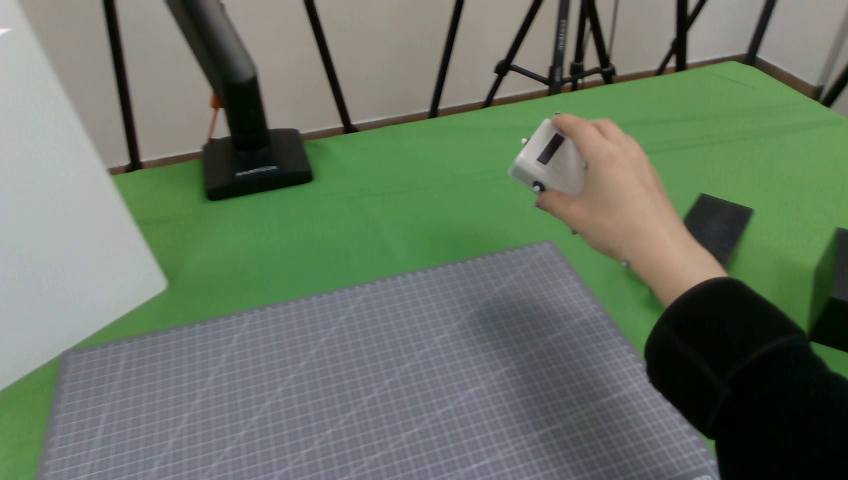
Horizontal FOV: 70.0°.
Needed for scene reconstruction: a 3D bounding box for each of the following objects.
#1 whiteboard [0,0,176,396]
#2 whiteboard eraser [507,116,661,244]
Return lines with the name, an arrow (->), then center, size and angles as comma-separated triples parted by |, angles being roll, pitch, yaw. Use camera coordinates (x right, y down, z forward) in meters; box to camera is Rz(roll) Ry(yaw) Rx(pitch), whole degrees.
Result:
whiteboard -> -0.393, -0.041, 0.489 | 0.143, 0.308, 0.217 | 9, 37, 44
whiteboard eraser -> 0.126, -0.047, 0.484 | 0.112, 0.042, 0.055 | 33, 68, 8
